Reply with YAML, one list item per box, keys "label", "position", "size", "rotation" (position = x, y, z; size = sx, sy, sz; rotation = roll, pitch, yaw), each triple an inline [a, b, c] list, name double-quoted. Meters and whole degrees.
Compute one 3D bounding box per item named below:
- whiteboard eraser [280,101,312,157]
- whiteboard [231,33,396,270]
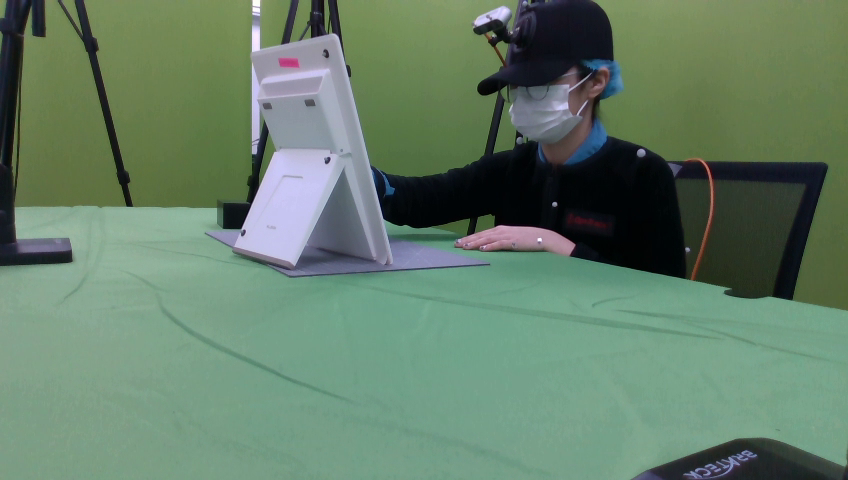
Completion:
- label: "whiteboard eraser"
  position: [-0.188, -0.160, 0.883]
  size: [0.019, 0.041, 0.101]
  rotation: [-28, -16, -35]
- label: "whiteboard"
  position: [-0.193, -0.094, 0.805]
  size: [0.144, 0.305, 0.216]
  rotation: [-29, 25, -35]
